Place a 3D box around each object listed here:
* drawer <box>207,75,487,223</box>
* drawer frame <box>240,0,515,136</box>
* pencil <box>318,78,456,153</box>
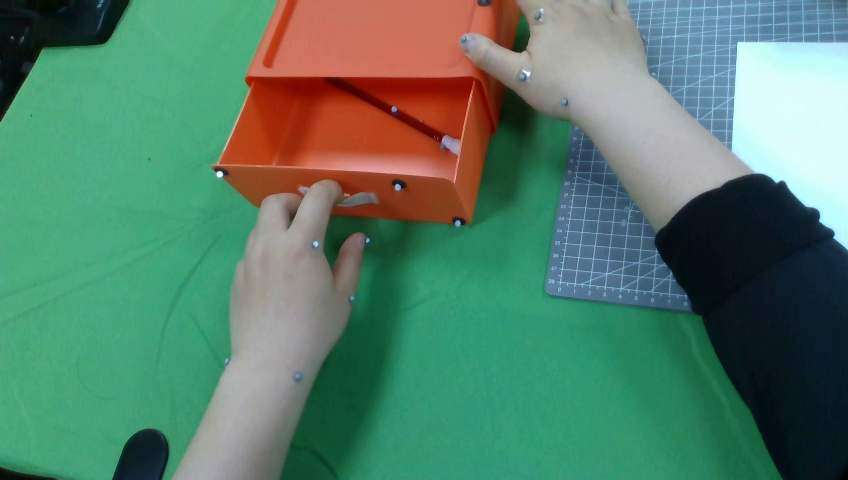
[{"bbox_3d":[-0.045,-0.123,0.495,0.193,0.074,0.210,5,66,20],"label":"drawer"},{"bbox_3d":[-0.028,-0.199,0.525,0.201,0.083,0.212,4,66,19],"label":"drawer frame"},{"bbox_3d":[-0.036,-0.113,0.520,0.192,0.012,0.012,32,77,29],"label":"pencil"}]
